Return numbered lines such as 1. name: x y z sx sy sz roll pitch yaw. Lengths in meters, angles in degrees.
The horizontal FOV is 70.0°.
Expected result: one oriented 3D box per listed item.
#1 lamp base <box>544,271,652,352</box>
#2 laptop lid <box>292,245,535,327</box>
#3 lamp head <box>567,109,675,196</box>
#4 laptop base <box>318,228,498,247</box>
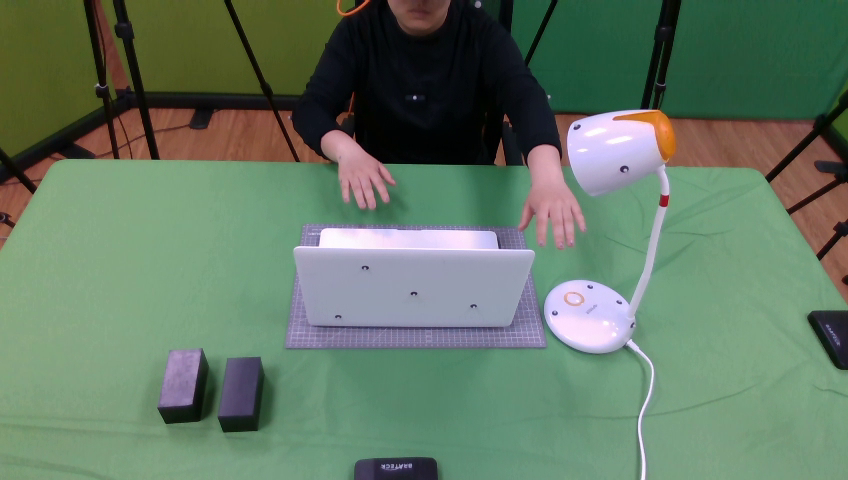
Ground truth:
1. lamp base: 0.310 0.086 1.029 0.178 0.181 0.160 32 52 21
2. laptop lid: -0.018 0.080 0.956 0.357 0.243 0.013 2 54 -5
3. lamp head: 0.272 -0.123 0.818 0.122 0.113 0.112 -9 35 37
4. laptop base: -0.028 0.066 1.134 0.355 0.023 0.234 1 42 -4
